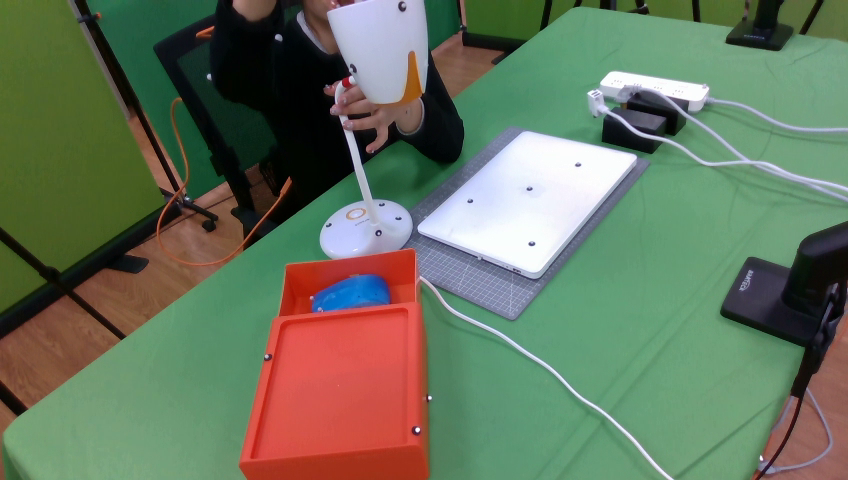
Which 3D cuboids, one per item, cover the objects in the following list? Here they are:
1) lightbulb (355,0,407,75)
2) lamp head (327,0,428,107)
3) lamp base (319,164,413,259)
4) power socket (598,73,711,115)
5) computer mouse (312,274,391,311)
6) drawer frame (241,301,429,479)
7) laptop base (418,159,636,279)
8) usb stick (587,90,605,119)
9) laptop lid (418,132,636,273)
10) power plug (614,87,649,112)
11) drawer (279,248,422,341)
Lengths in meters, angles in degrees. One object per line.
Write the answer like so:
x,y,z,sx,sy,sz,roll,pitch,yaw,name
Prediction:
-0.045,-0.245,0.698,0.059,0.108,0.059,-9,19,4,lightbulb
-0.047,-0.217,0.708,0.112,0.123,0.112,-8,24,4,lamp head
-0.102,-0.068,0.962,0.161,0.181,0.177,-30,46,-21,lamp base
0.469,-0.304,1.249,0.225,0.033,0.072,20,49,30,power socket
-0.107,0.086,0.885,0.117,0.041,0.062,-14,40,0,computer mouse
-0.096,0.183,0.741,0.202,0.083,0.212,-6,40,3,drawer frame
0.185,-0.074,1.042,0.233,0.023,0.355,19,48,35,laptop base
0.334,-0.258,1.170,0.021,0.059,0.027,-29,44,-5,usb stick
0.181,-0.084,1.036,0.239,0.013,0.358,22,49,35,laptop lid
0.406,-0.275,1.192,0.035,0.053,0.072,-15,24,-15,power plug
-0.100,0.114,0.828,0.194,0.073,0.210,-7,40,1,drawer
